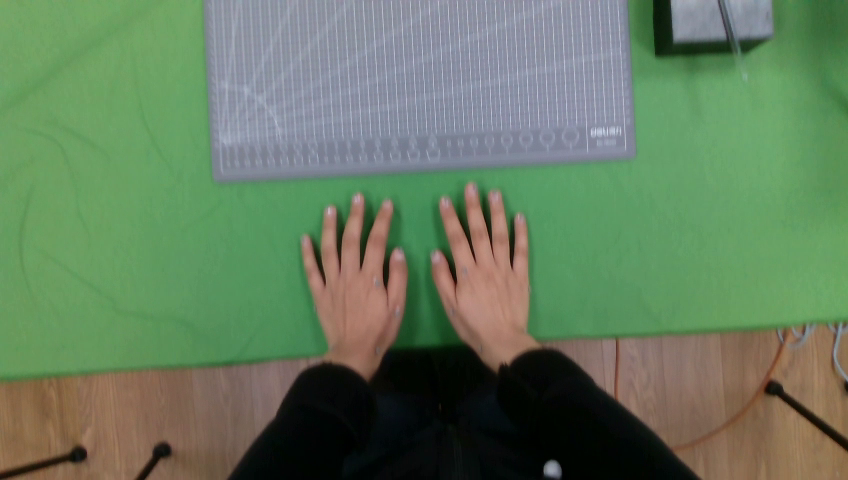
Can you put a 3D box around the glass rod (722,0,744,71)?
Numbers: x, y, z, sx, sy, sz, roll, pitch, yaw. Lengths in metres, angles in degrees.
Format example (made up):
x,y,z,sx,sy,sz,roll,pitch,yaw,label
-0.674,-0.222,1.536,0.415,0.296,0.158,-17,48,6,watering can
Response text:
x,y,z,sx,sy,sz,roll,pitch,yaw,label
0.288,-0.262,0.590,0.008,0.008,0.199,-13,91,1,glass rod
